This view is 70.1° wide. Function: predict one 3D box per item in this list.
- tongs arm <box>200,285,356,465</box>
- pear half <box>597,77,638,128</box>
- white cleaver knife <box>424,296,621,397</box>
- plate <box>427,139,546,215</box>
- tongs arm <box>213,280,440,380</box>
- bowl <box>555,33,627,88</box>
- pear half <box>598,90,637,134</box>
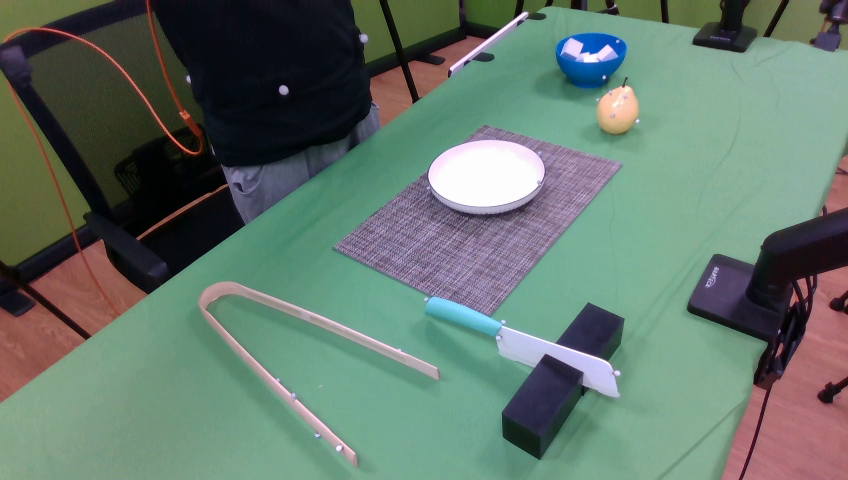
[{"bbox_3d":[-0.199,0.162,0.798,0.381,0.026,0.051,28,50,35],"label":"tongs arm"},{"bbox_3d":[0.373,-0.266,1.155,0.076,0.110,0.056,10,43,4],"label":"pear half"},{"bbox_3d":[0.110,0.132,0.761,0.284,0.066,0.021,17,42,39],"label":"white cleaver knife"},{"bbox_3d":[0.109,-0.107,1.058,0.207,0.039,0.206,-4,40,4],"label":"plate"},{"bbox_3d":[-0.147,0.120,0.845,0.385,0.028,0.028,17,48,26],"label":"tongs arm"},{"bbox_3d":[0.360,-0.384,1.318,0.151,0.077,0.150,-4,41,4],"label":"bowl"},{"bbox_3d":[0.365,-0.235,1.137,0.070,0.088,0.031,10,43,5],"label":"pear half"}]
